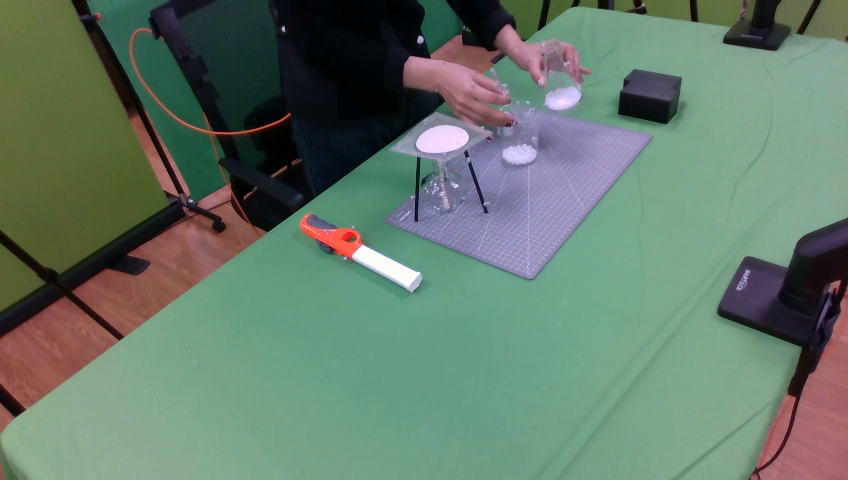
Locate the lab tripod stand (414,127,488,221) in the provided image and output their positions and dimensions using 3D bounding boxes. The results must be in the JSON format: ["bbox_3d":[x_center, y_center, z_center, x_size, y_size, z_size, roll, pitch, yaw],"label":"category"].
[{"bbox_3d":[0.035,-0.114,1.021,0.148,0.132,0.147,-7,39,6],"label":"lab tripod stand"}]

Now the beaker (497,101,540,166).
[{"bbox_3d":[0.178,-0.193,1.114,0.074,0.101,0.083,-26,43,-19],"label":"beaker"}]

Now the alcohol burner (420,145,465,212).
[{"bbox_3d":[0.031,-0.108,1.030,0.078,0.119,0.077,-5,38,4],"label":"alcohol burner"}]

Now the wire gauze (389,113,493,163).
[{"bbox_3d":[0.026,-0.164,0.977,0.120,0.011,0.125,23,49,35],"label":"wire gauze"}]

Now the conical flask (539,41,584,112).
[{"bbox_3d":[0.243,-0.301,1.103,0.075,0.123,0.075,-15,46,17],"label":"conical flask"}]

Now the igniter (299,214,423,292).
[{"bbox_3d":[-0.113,0.016,0.983,0.274,0.025,0.057,26,62,35],"label":"igniter"}]

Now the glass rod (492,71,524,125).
[{"bbox_3d":[0.147,-0.241,1.044,0.008,0.201,0.008,-6,74,22],"label":"glass rod"}]

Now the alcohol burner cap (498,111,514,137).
[{"bbox_3d":[0.163,-0.235,1.211,0.034,0.048,0.033,-6,40,6],"label":"alcohol burner cap"}]
